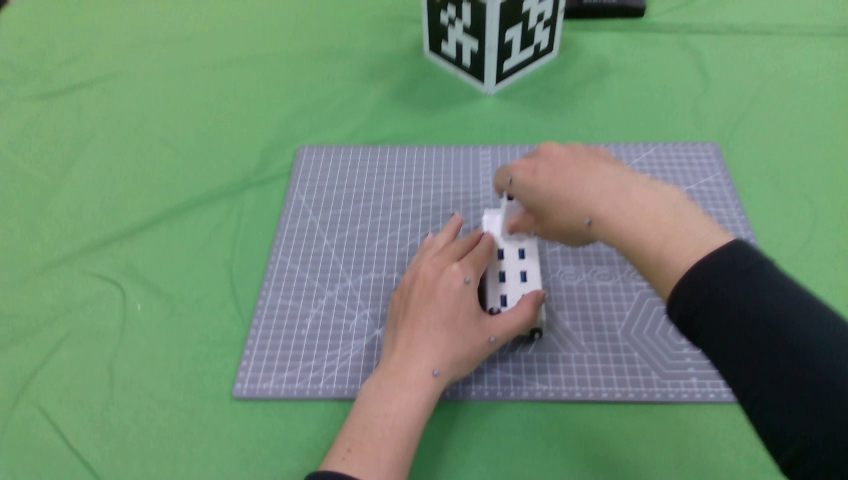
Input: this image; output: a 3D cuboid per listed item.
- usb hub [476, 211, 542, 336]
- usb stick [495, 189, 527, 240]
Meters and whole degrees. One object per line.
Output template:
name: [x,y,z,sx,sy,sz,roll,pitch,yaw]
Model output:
usb hub: [0.072,0.026,0.535,0.049,0.025,0.124,-1,49,3]
usb stick: [0.076,-0.017,0.533,0.027,0.060,0.021,-1,49,6]
